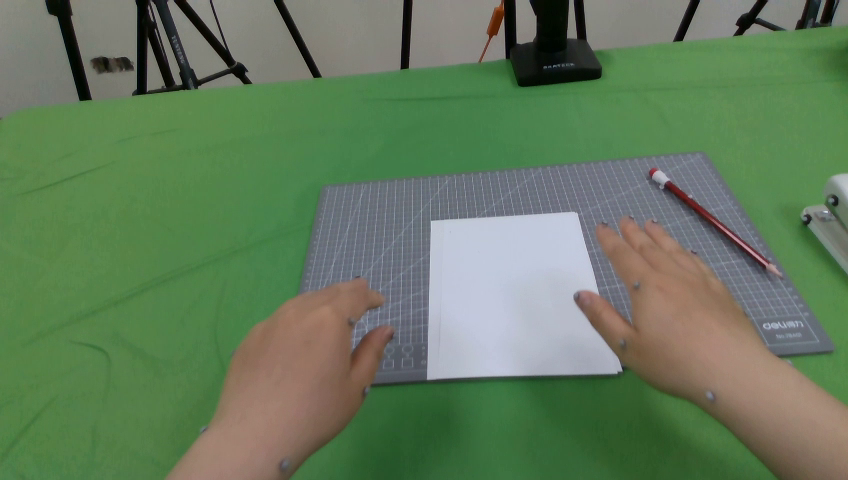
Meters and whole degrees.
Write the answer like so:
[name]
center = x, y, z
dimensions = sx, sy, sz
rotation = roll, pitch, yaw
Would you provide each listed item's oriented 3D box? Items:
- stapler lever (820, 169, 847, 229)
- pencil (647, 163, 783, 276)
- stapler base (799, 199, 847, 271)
[stapler lever]
center = 0.393, -0.019, 0.538
dimensions = 0.027, 0.040, 0.117
rotation = -8, 41, 3
[pencil]
center = 0.283, -0.025, 0.603
dimensions = 0.012, 0.012, 0.191
rotation = -17, 42, -12
[stapler base]
center = 0.395, -0.001, 0.555
dimensions = 0.041, 0.025, 0.129
rotation = -8, 42, 3
